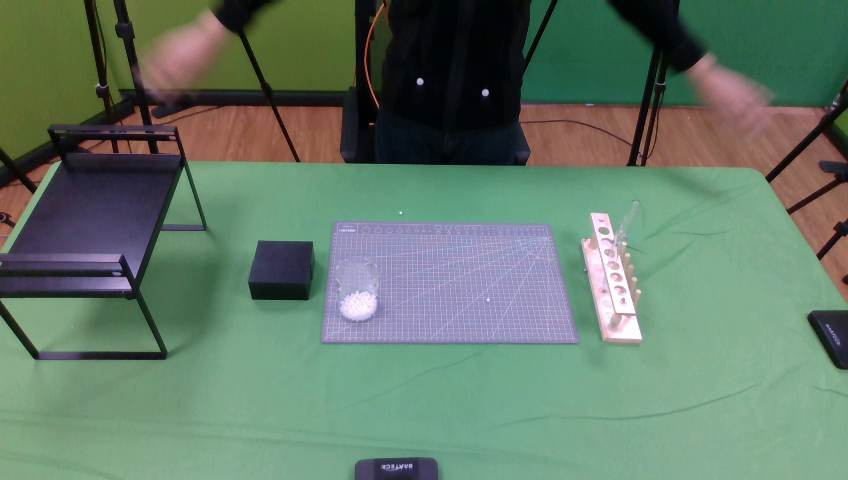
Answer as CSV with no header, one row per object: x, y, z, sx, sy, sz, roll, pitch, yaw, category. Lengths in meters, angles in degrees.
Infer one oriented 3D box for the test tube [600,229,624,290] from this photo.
0.333,0.037,1.075,0.017,0.151,0.017,-1,46,2,test tube

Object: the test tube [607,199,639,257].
0.374,-0.020,1.140,0.017,0.151,0.017,3,47,-3,test tube

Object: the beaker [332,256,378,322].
-0.114,0.089,1.047,0.083,0.101,0.074,30,52,21,beaker

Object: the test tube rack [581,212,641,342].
0.351,0.063,1.121,0.067,0.085,0.241,2,46,-1,test tube rack
